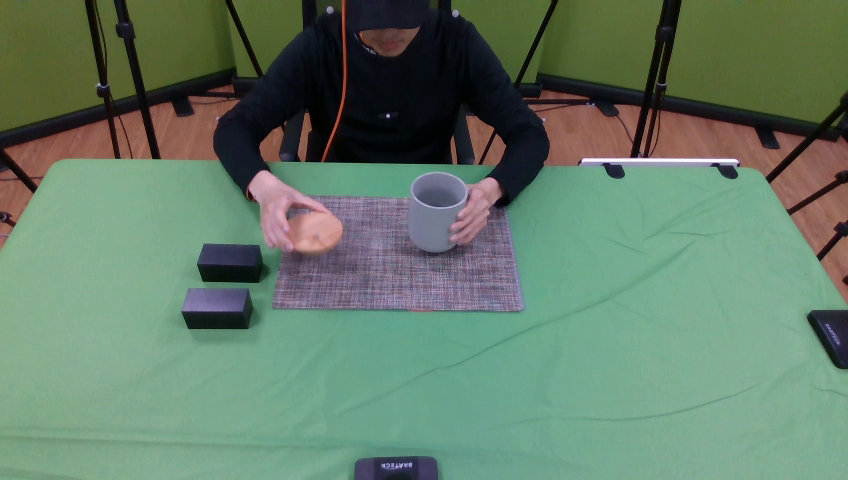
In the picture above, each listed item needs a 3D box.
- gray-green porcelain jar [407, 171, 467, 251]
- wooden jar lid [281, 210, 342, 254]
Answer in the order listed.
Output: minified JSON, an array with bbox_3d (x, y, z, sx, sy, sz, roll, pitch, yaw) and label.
[{"bbox_3d":[0.022,-0.050,1.138,0.106,0.127,0.105,2,46,-2],"label":"gray-green porcelain jar"},{"bbox_3d":[-0.200,-0.013,1.084,0.108,0.021,0.107,2,41,-1],"label":"wooden jar lid"}]
